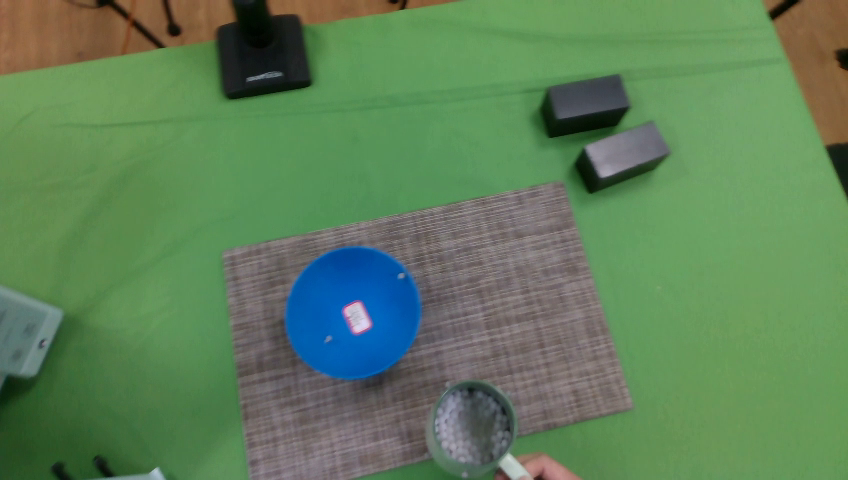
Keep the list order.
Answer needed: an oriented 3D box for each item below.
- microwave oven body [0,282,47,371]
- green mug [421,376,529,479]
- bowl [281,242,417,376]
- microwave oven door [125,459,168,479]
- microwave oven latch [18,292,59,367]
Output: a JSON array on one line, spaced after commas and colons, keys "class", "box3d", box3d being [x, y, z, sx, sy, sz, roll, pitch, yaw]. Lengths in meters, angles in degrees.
[{"class": "microwave oven body", "box3d": [-0.636, 0.197, 0.553, 0.326, 0.261, 0.439, 15, 73, 2]}, {"class": "green mug", "box3d": [0.055, 0.194, 0.597, 0.092, 0.105, 0.124, -42, 74, -15]}, {"class": "bowl", "box3d": [-0.083, 0.086, 0.704, 0.151, 0.077, 0.150, 1, 73, -2]}, {"class": "microwave oven door", "box3d": [-0.421, 0.325, 0.516, 0.355, 0.245, 0.039, -38, 78, -13]}, {"class": "microwave oven latch", "box3d": [-0.449, 0.103, 0.691, 0.030, 0.029, 0.079, 17, 74, 3]}]
